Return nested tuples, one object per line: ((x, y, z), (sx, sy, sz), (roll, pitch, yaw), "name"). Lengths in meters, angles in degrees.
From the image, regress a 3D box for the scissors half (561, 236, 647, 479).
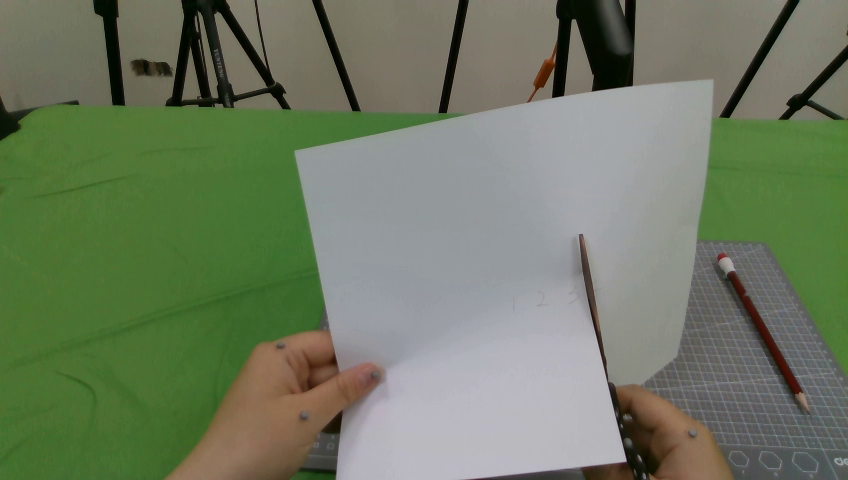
((0.101, 0.080, 0.342), (0.013, 0.040, 0.174), (-12, 73, 0), "scissors half")

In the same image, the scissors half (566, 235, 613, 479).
((0.101, 0.083, 0.364), (0.013, 0.175, 0.040), (-12, 7, -5), "scissors half")

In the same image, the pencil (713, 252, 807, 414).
((0.298, 0.075, 0.544), (0.012, 0.012, 0.192), (0, 39, 1), "pencil")
